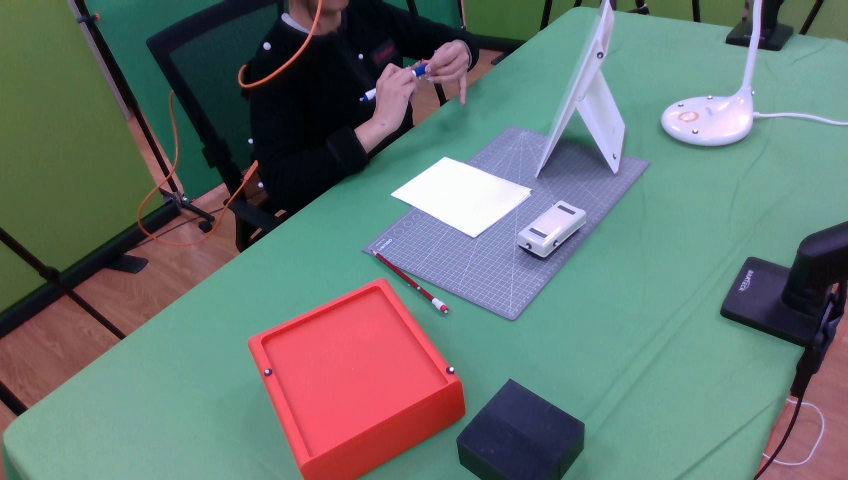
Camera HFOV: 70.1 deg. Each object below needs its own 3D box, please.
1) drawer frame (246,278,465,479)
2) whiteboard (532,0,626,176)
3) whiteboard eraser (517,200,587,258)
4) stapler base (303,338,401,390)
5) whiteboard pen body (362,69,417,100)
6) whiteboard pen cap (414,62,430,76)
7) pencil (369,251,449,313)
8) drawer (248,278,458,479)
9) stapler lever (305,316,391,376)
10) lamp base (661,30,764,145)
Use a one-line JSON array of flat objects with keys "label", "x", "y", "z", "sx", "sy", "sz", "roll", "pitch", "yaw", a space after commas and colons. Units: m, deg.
[{"label": "drawer frame", "x": -0.088, "y": 0.168, "z": 0.752, "sx": 0.202, "sy": 0.083, "sz": 0.211, "roll": -24, "pitch": 43, "yaw": -18}, {"label": "whiteboard", "x": 0.321, "y": -0.258, "z": 1.050, "sx": 0.144, "sy": 0.306, "sz": 0.217, "roll": 22, "pitch": 45, "yaw": 5}, {"label": "whiteboard eraser", "x": 0.201, "y": -0.016, "z": 0.943, "sx": 0.113, "sy": 0.042, "sz": 0.055, "roll": -37, "pitch": 46, "yaw": -29}, {"label": "stapler base", "x": -0.096, "y": 0.160, "z": 0.813, "sx": 0.131, "sy": 0.024, "sz": 0.041, "roll": -17, "pitch": 43, "yaw": -17}, {"label": "whiteboard pen body", "x": -0.060, "y": -0.314, "z": 1.200, "sx": 0.141, "sy": 0.017, "sz": 0.017, "roll": -28, "pitch": 43, "yaw": -9}, {"label": "whiteboard pen cap", "x": -0.006, "y": -0.342, "z": 1.211, "sx": 0.033, "sy": 0.018, "sz": 0.018, "roll": -32, "pitch": 44, "yaw": -8}, {"label": "pencil", "x": -0.029, "y": 0.060, "z": 0.924, "sx": 0.012, "sy": 0.012, "sz": 0.192, "roll": -33, "pitch": 46, "yaw": -25}, {"label": "drawer", "x": -0.092, "y": 0.168, "z": 0.756, "sx": 0.195, "sy": 0.073, "sz": 0.210, "roll": -24, "pitch": 43, "yaw": -18}, {"label": "stapler lever", "x": -0.100, "y": 0.137, "z": 0.790, "sx": 0.118, "sy": 0.040, "sz": 0.026, "roll": -23, "pitch": 44, "yaw": -12}, {"label": "lamp base", "x": 0.535, "y": -0.287, "z": 1.096, "sx": 0.179, "sy": 0.181, "sz": 0.159, "roll": -10, "pitch": 40, "yaw": -4}]
